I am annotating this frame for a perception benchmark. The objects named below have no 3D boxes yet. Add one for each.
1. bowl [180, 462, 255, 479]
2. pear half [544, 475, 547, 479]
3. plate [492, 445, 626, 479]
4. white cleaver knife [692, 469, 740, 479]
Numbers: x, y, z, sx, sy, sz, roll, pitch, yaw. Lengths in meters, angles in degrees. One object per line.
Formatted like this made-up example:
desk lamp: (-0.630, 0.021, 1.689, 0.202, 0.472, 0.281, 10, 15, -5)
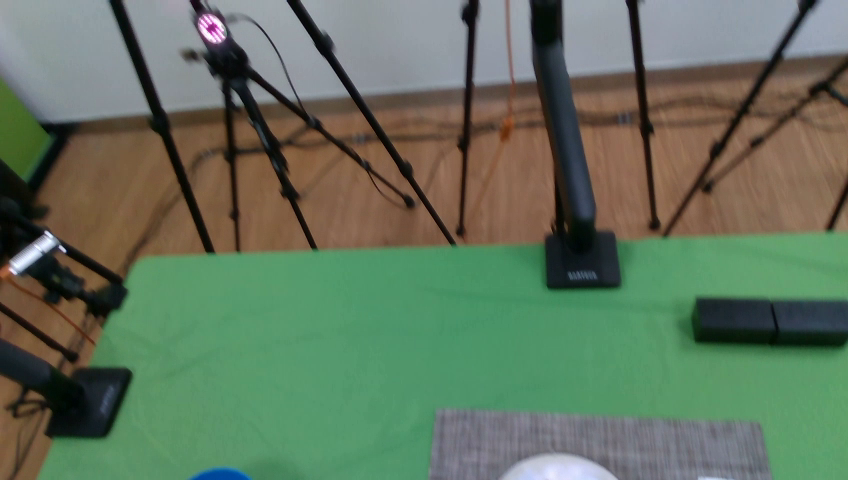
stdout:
bowl: (-0.277, 0.389, 0.822, 0.151, 0.077, 0.150, -6, 51, 7)
pear half: (0.142, 0.346, 0.768, 0.076, 0.056, 0.109, 10, 51, 15)
plate: (0.173, 0.367, 0.763, 0.207, 0.039, 0.205, -6, 51, 8)
white cleaver knife: (0.368, 0.410, 0.704, 0.066, 0.022, 0.283, -9, 47, 16)
